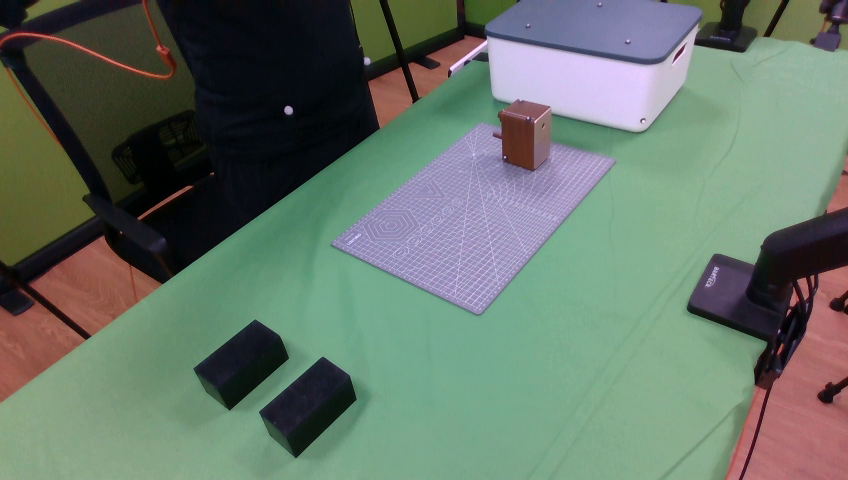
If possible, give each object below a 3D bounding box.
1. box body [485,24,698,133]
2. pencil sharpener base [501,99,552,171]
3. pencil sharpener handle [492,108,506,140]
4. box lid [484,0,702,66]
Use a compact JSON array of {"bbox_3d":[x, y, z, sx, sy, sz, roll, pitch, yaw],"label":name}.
[{"bbox_3d":[0.340,-0.373,1.251,0.361,0.161,0.255,21,48,30],"label":"box body"},{"bbox_3d":[0.184,-0.191,1.097,0.076,0.107,0.061,23,49,32],"label":"pencil sharpener base"},{"bbox_3d":[0.141,-0.216,1.114,0.030,0.068,0.036,23,41,32],"label":"pencil sharpener handle"},{"bbox_3d":[0.333,-0.428,1.202,0.368,0.015,0.264,21,48,30],"label":"box lid"}]
